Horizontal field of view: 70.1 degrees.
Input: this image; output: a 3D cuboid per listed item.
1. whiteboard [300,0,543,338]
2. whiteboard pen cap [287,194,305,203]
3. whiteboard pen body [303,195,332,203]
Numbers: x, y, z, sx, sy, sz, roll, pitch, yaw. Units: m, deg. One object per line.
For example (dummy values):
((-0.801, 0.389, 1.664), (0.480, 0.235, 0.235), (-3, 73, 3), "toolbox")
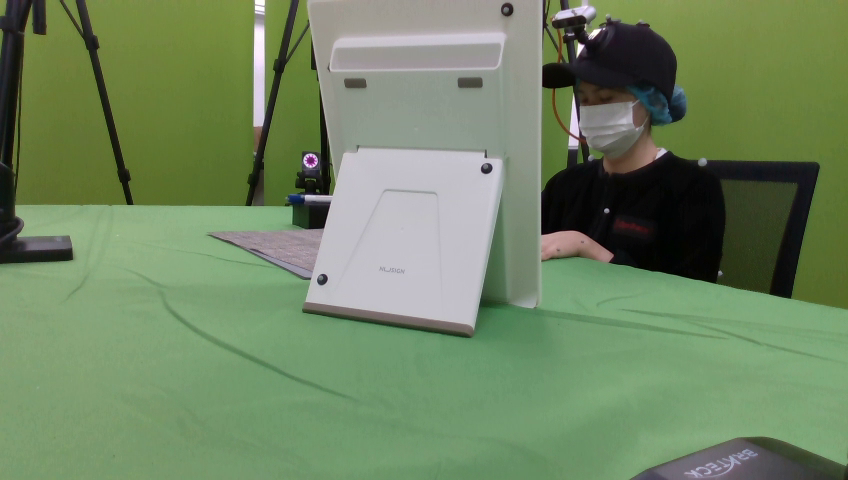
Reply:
((-0.020, -0.050, 0.523), (0.216, 0.305, 0.144), (6, 27, 22), "whiteboard")
((-0.255, -0.083, 1.206), (0.033, 0.018, 0.018), (1, 8, -22), "whiteboard pen cap")
((-0.198, -0.083, 1.229), (0.141, 0.017, 0.017), (0, 8, -22), "whiteboard pen body")
